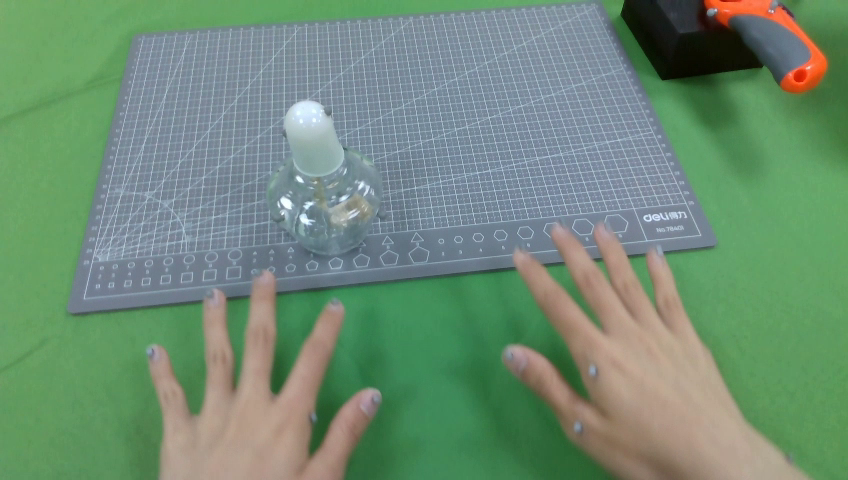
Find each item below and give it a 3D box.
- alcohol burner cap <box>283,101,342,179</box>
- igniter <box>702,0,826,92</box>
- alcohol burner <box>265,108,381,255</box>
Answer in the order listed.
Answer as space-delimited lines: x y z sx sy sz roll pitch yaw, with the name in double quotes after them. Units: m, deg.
-0.069 -0.063 0.367 0.034 0.048 0.033 0 58 1 "alcohol burner cap"
0.257 -0.220 0.520 0.057 0.025 0.273 -10 54 -4 "igniter"
-0.068 -0.043 0.396 0.078 0.120 0.077 0 57 1 "alcohol burner"
